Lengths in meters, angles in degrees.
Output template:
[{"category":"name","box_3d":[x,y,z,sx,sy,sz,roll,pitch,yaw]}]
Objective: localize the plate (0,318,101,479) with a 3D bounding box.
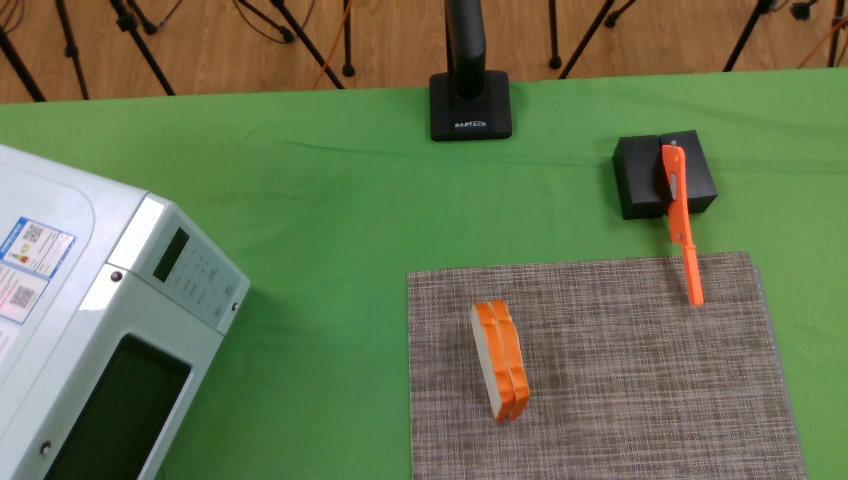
[{"category":"plate","box_3d":[-0.470,0.192,0.688,0.208,0.039,0.206,0,66,0]}]

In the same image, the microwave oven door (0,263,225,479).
[{"category":"microwave oven door","box_3d":[-0.336,0.220,0.606,0.039,0.245,0.354,17,70,11]}]

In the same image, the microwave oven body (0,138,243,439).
[{"category":"microwave oven body","box_3d":[-0.458,0.143,0.650,0.325,0.262,0.439,18,70,10]}]

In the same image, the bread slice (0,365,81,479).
[{"category":"bread slice","box_3d":[-0.465,0.219,0.682,0.134,0.018,0.106,-25,68,-16]}]

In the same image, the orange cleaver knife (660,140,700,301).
[{"category":"orange cleaver knife","box_3d":[0.325,-0.028,0.776,0.012,0.077,0.211,-7,88,3]}]

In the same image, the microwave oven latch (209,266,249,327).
[{"category":"microwave oven latch","box_3d":[-0.252,0.069,0.774,0.030,0.030,0.079,19,71,10]}]
